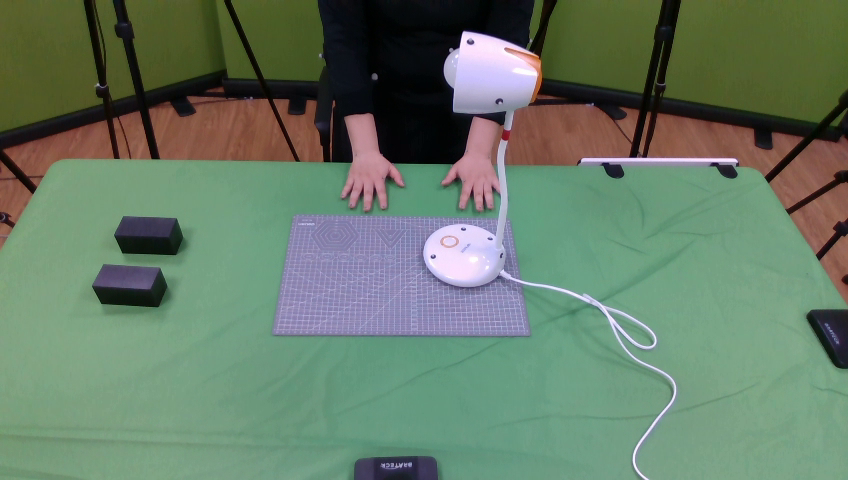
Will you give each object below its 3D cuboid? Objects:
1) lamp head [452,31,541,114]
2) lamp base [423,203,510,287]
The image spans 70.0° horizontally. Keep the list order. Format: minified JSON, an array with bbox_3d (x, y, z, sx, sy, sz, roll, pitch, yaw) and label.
[{"bbox_3d":[0.102,-0.228,0.858,0.123,0.113,0.112,11,46,0],"label":"lamp head"},{"bbox_3d":[0.092,-0.021,1.111,0.179,0.181,0.160,23,49,14],"label":"lamp base"}]
